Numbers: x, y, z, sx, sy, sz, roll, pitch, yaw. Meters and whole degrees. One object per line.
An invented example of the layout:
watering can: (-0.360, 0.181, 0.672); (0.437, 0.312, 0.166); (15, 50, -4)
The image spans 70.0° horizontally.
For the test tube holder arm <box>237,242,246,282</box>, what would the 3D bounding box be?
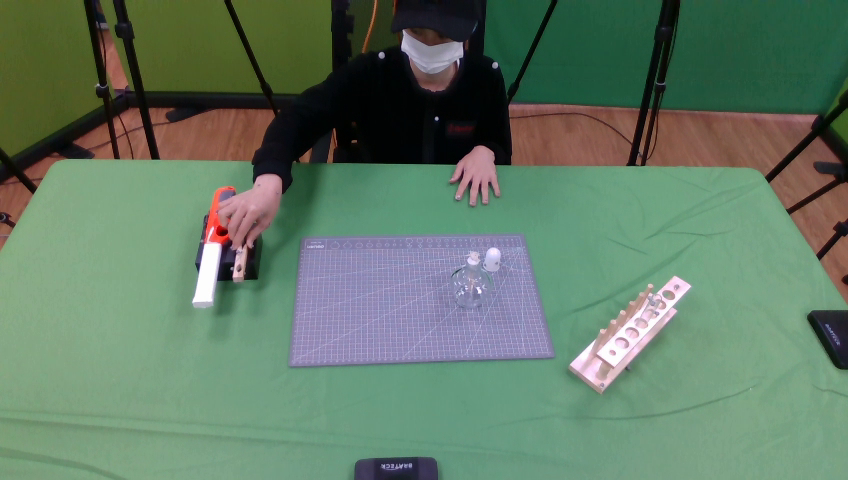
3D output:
test tube holder arm: (-0.322, 0.038, 1.071); (0.010, 0.015, 0.087); (3, 44, -14)

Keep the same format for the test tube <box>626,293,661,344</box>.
test tube: (0.355, 0.133, 0.984); (0.017, 0.151, 0.017); (1, 52, 0)

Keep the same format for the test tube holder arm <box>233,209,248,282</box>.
test tube holder arm: (-0.333, 0.006, 1.101); (0.013, 0.015, 0.177); (3, 44, -14)

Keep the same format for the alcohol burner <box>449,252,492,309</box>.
alcohol burner: (0.084, 0.066, 1.074); (0.078, 0.120, 0.077); (1, 44, -1)

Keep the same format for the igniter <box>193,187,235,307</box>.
igniter: (-0.378, 0.003, 1.096); (0.057, 0.025, 0.274); (-1, 49, -6)

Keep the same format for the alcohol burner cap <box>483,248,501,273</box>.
alcohol burner cap: (0.130, 0.037, 1.156); (0.034, 0.048, 0.033); (1, 46, -1)

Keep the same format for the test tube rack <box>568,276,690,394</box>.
test tube rack: (0.353, 0.149, 1.039); (0.242, 0.085, 0.066); (-34, 56, -31)
